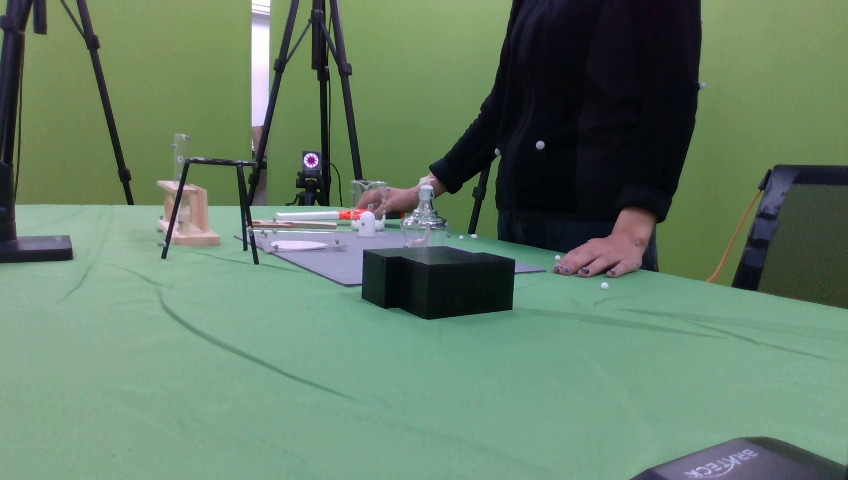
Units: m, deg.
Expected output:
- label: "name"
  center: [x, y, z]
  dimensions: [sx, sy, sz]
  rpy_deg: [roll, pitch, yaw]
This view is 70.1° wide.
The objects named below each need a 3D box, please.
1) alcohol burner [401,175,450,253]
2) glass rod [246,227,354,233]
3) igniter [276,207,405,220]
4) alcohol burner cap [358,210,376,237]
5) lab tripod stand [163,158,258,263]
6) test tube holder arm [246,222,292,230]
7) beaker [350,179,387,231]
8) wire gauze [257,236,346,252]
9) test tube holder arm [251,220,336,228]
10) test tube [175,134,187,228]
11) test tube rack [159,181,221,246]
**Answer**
- label: "alcohol burner"
  center: [0.003, -0.040, 0.933]
  dimensions: [0.078, 0.119, 0.078]
  rpy_deg: [2, 9, 0]
- label: "glass rod"
  center: [-0.224, -0.017, 1.109]
  dimensions: [0.201, 0.008, 0.008]
  rpy_deg: [1, 7, -27]
- label: "igniter"
  center: [-0.173, -0.054, 1.288]
  dimensions: [0.278, 0.025, 0.057]
  rpy_deg: [-3, 12, -24]
- label: "alcohol burner cap"
  center: [-0.104, -0.030, 1.098]
  dimensions: [0.034, 0.048, 0.034]
  rpy_deg: [3, 7, 0]
- label: "lab tripod stand"
  center: [-0.265, -0.041, 0.802]
  dimensions: [0.148, 0.131, 0.148]
  rpy_deg: [4, 7, 0]
- label: "test tube holder arm"
  center: [-0.291, -0.026, 1.129]
  dimensions: [0.088, 0.015, 0.010]
  rpy_deg: [-1, 41, -30]
- label: "beaker"
  center: [-0.111, -0.069, 1.204]
  dimensions: [0.074, 0.100, 0.084]
  rpy_deg: [2, 8, 0]
- label: "wire gauze"
  center: [-0.189, 0.005, 0.931]
  dimensions: [0.122, 0.011, 0.124]
  rpy_deg: [1, 7, -21]
- label: "test tube holder arm"
  center: [-0.253, -0.030, 1.156]
  dimensions: [0.179, 0.015, 0.013]
  rpy_deg: [-1, 41, -30]
- label: "test tube"
  center: [-0.388, -0.094, 0.964]
  dimensions: [0.017, 0.150, 0.017]
  rpy_deg: [1, 2, 0]
- label: "test tube rack"
  center: [-0.395, -0.050, 1.010]
  dimensions: [0.067, 0.085, 0.241]
  rpy_deg: [-1, 8, -28]
